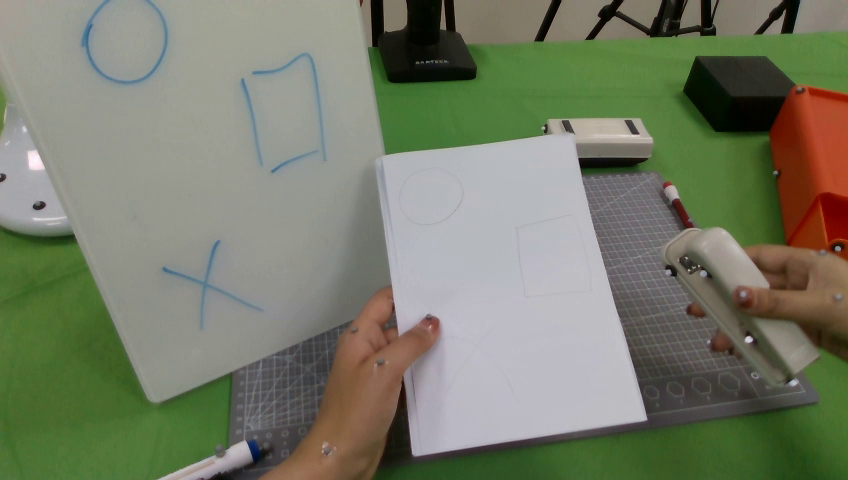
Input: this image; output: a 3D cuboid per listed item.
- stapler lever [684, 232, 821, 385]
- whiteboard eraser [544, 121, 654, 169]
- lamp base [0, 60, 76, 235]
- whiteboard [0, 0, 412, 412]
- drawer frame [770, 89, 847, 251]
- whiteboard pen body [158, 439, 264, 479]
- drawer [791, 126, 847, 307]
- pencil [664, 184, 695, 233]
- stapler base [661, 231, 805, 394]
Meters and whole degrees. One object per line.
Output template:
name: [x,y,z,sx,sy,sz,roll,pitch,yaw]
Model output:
stapler lever: [0.228,0.045,0.421,0.027,0.040,0.117,-37,76,4]
whiteboard eraser: [0.197,-0.108,0.685,0.113,0.042,0.055,0,45,-5]
lamp base: [-0.349,-0.121,0.550,0.178,0.182,0.160,23,47,22]
whiteboard: [-0.155,-0.069,0.464,0.217,0.308,0.142,-21,30,-23]
drawer frame: [0.483,-0.057,0.627,0.201,0.083,0.212,14,44,10]
whiteboard pen body: [-0.172,0.162,0.384,0.141,0.017,0.017,-19,48,-25]
drawer: [0.464,-0.015,0.583,0.194,0.074,0.210,14,44,11]
pencil: [0.269,0.011,0.587,0.012,0.012,0.192,-1,47,-5]
stapler base: [0.231,0.049,0.446,0.041,0.024,0.130,-37,76,4]
